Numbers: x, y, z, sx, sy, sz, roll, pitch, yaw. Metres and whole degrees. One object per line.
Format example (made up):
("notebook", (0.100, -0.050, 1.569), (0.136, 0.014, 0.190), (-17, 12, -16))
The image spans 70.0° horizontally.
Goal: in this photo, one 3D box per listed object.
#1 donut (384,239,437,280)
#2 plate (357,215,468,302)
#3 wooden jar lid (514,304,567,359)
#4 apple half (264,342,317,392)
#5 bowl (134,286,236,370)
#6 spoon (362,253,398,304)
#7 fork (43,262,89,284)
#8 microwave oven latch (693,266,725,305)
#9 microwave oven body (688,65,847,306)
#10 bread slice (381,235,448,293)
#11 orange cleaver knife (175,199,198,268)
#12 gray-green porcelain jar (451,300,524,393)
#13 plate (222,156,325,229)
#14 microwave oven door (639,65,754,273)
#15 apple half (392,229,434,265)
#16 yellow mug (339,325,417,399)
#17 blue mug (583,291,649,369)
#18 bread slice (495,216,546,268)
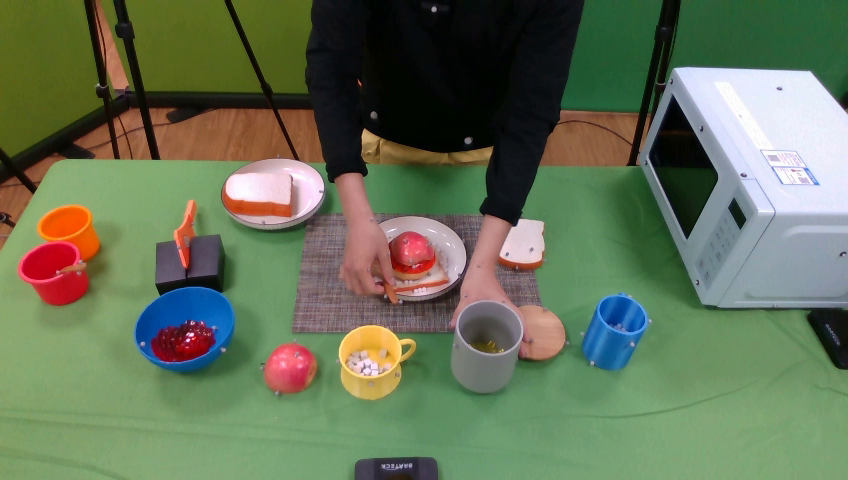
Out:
("donut", (-0.025, 0.030, 1.109), (0.099, 0.048, 0.098), (1, 47, -1))
("plate", (-0.022, 0.037, 1.141), (0.208, 0.039, 0.206), (2, 46, -2))
("wooden jar lid", (0.192, 0.161, 1.052), (0.108, 0.021, 0.107), (2, 50, -2))
("apple half", (-0.214, 0.198, 0.970), (0.074, 0.053, 0.080), (19, 48, 10))
("bowl", (-0.377, 0.155, 0.981), (0.151, 0.077, 0.150), (2, 46, -2))
("spoon", (-0.075, 0.065, 1.063), (0.042, 0.021, 0.192), (14, 13, -22))
("fork", (-0.599, 0.053, 1.013), (0.207, 0.019, 0.028), (-14, 30, 45))
("microwave oven latch", (0.523, 0.082, 1.115), (0.030, 0.029, 0.078), (3, 46, 0))
("microwave oven body", (0.669, -0.111, 1.176), (0.326, 0.261, 0.439), (0, 46, -3))
("bread slice", (-0.026, 0.043, 1.146), (0.107, 0.018, 0.133), (-13, 54, -18))
("orange cleaver knife", (-0.438, -0.017, 1.138), (0.012, 0.077, 0.210), (-14, 27, -7))
("gray-green porcelain jar", (0.097, 0.174, 0.964), (0.106, 0.127, 0.105), (2, 46, -2))
("plate", (-0.308, -0.095, 1.251), (0.209, 0.038, 0.208), (2, 47, -2))
("microwave oven door", (0.522, -0.147, 1.193), (0.039, 0.245, 0.353), (0, 47, -3))
("apple half", (-0.020, 0.004, 1.083), (0.081, 0.033, 0.081), (7, 48, -7))
("yellow mug", (-0.072, 0.190, 0.978), (0.131, 0.064, 0.099), (-17, 50, -20))
("blue mug", (0.324, 0.142, 1.023), (0.082, 0.106, 0.116), (15, 47, 11))
("bread slice", (0.194, 0.002, 1.205), (0.105, 0.019, 0.131), (5, 45, 2))
